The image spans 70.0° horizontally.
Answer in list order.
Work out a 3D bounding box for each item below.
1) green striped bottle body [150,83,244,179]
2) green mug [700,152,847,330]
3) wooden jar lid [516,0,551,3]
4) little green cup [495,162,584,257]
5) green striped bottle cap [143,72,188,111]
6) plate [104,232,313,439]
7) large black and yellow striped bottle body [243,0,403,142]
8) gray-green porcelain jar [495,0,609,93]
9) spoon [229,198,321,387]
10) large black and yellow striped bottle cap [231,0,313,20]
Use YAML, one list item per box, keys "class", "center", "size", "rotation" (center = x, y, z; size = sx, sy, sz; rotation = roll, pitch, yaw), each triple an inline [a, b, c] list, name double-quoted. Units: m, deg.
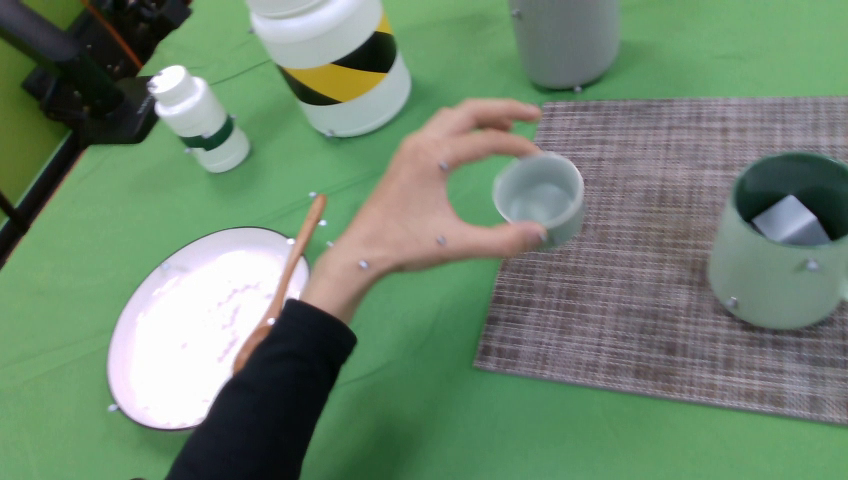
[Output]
- class: "green striped bottle body"
  center: [-0.264, -0.130, 0.695]
  size: [0.063, 0.120, 0.062]
  rotation: [-10, 53, 14]
- class: "green mug"
  center: [0.256, 0.009, 0.409]
  size: [0.124, 0.106, 0.092]
  rotation: [27, 68, 33]
- class: "wooden jar lid"
  center: [0.113, -0.259, 0.565]
  size: [0.108, 0.021, 0.107]
  rotation: [-9, 56, 14]
- class: "little green cup"
  center: [0.083, -0.019, 0.425]
  size: [0.061, 0.039, 0.061]
  rotation: [-9, 55, 14]
- class: "green striped bottle cap"
  center: [-0.279, -0.160, 0.655]
  size: [0.044, 0.020, 0.044]
  rotation: [-8, 56, 12]
- class: "plate"
  center: [-0.196, 0.086, 0.567]
  size: [0.209, 0.038, 0.207]
  rotation: [-10, 53, 13]
- class: "large black and yellow striped bottle body"
  center: [-0.111, -0.212, 0.655]
  size: [0.130, 0.186, 0.129]
  rotation: [-10, 53, 14]
- class: "gray-green porcelain jar"
  center: [0.131, -0.223, 0.612]
  size: [0.105, 0.128, 0.105]
  rotation: [-10, 53, 14]
- class: "spoon"
  center: [-0.129, 0.042, 0.554]
  size: [0.041, 0.022, 0.192]
  rotation: [6, 67, 22]
- class: "large black and yellow striped bottle cap"
  center: [-0.136, -0.258, 0.590]
  size: [0.115, 0.019, 0.114]
  rotation: [-10, 52, 13]
